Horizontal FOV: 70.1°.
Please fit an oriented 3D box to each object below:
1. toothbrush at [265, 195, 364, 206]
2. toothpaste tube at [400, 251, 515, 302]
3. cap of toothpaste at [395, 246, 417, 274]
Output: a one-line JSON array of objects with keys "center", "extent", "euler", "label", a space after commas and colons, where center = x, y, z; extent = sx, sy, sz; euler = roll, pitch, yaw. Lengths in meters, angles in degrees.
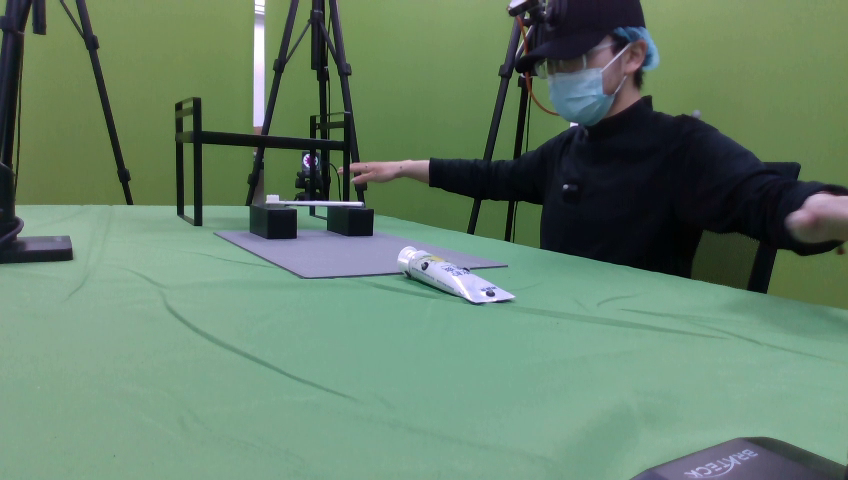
[{"center": [-0.194, -0.069, 1.089], "extent": [0.183, 0.016, 0.014], "euler": [0, -6, -27], "label": "toothbrush"}, {"center": [0.026, 0.041, 0.673], "extent": [0.055, 0.034, 0.164], "euler": [-10, 17, -34], "label": "toothpaste tube"}, {"center": [-0.018, 0.025, 0.738], "extent": [0.037, 0.037, 0.011], "euler": [-4, 11, -41], "label": "cap of toothpaste"}]
